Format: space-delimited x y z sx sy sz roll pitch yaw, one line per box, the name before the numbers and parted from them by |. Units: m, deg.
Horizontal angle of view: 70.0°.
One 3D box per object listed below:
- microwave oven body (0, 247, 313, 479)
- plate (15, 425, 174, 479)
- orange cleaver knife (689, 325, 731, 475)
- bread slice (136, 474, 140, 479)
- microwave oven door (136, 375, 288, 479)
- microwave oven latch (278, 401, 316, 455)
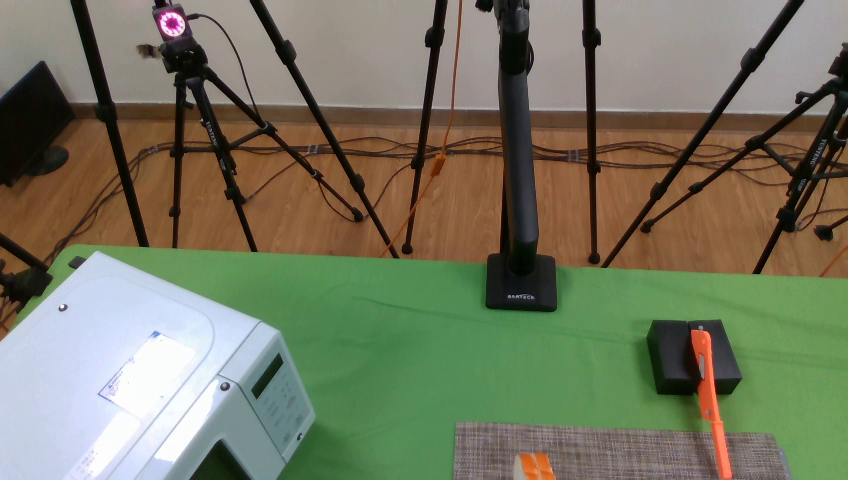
microwave oven body | -0.402 0.278 0.737 0.324 0.262 0.439 19 54 18
plate | -0.418 0.337 0.759 0.208 0.039 0.205 1 48 0
orange cleaver knife | 0.400 0.219 0.855 0.012 0.078 0.210 -2 70 5
bread slice | -0.416 0.362 0.746 0.135 0.018 0.106 -12 49 -21
microwave oven door | -0.290 0.348 0.663 0.039 0.246 0.354 19 53 19
microwave oven latch | -0.184 0.263 0.863 0.030 0.030 0.079 20 55 19
